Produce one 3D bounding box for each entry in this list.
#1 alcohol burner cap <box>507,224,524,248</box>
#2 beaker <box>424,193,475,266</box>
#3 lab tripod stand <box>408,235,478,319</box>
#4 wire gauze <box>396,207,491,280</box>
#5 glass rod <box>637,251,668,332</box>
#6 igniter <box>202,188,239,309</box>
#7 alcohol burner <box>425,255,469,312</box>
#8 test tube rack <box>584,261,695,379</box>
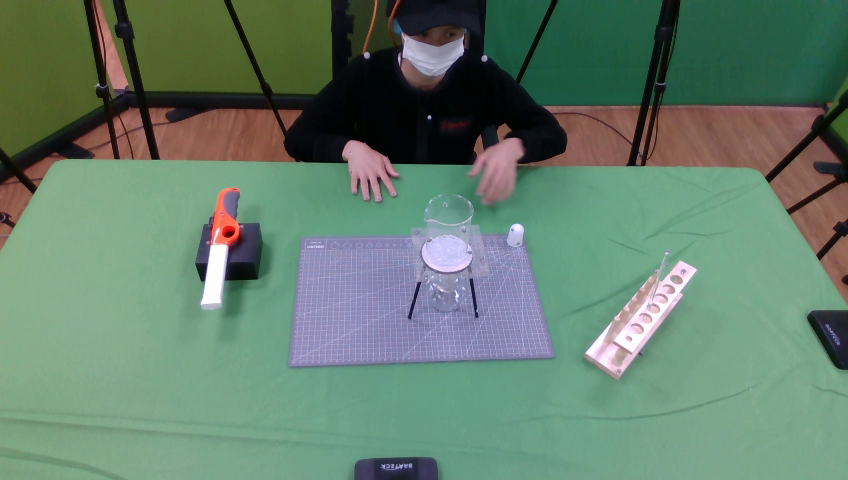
[{"bbox_3d":[0.184,-0.010,1.206,0.034,0.048,0.033,0,44,0],"label":"alcohol burner cap"},{"bbox_3d":[0.036,-0.013,0.974,0.084,0.101,0.073,-18,48,-20],"label":"beaker"},{"bbox_3d":[0.032,0.065,1.057,0.148,0.132,0.147,1,45,-1],"label":"lab tripod stand"},{"bbox_3d":[0.032,0.006,1.001,0.125,0.011,0.120,-20,52,-16],"label":"wire gauze"},{"bbox_3d":[0.378,0.089,1.005,0.008,0.201,0.008,-1,44,1],"label":"glass rod"},{"bbox_3d":[-0.367,0.006,1.095,0.057,0.025,0.274,-2,49,-7],"label":"igniter"},{"bbox_3d":[0.041,0.072,1.065,0.078,0.120,0.077,1,46,-1],"label":"alcohol burner"},{"bbox_3d":[0.380,0.127,1.062,0.066,0.085,0.242,34,53,26],"label":"test tube rack"}]
